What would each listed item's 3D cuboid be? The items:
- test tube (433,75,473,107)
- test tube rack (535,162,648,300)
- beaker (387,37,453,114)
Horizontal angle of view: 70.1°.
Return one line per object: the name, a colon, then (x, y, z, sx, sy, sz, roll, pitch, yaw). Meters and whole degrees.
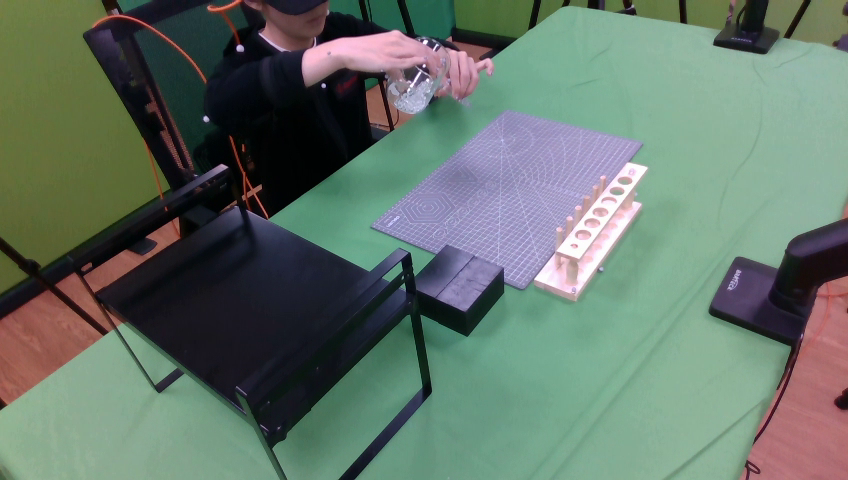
test tube: (0.054, -0.259, 1.059, 0.017, 0.017, 0.151, 17, 4, 26)
test tube rack: (0.257, -0.024, 0.916, 0.066, 0.085, 0.243, 22, 49, 30)
beaker: (-0.008, -0.251, 0.941, 0.073, 0.084, 0.100, 12, 58, 27)
